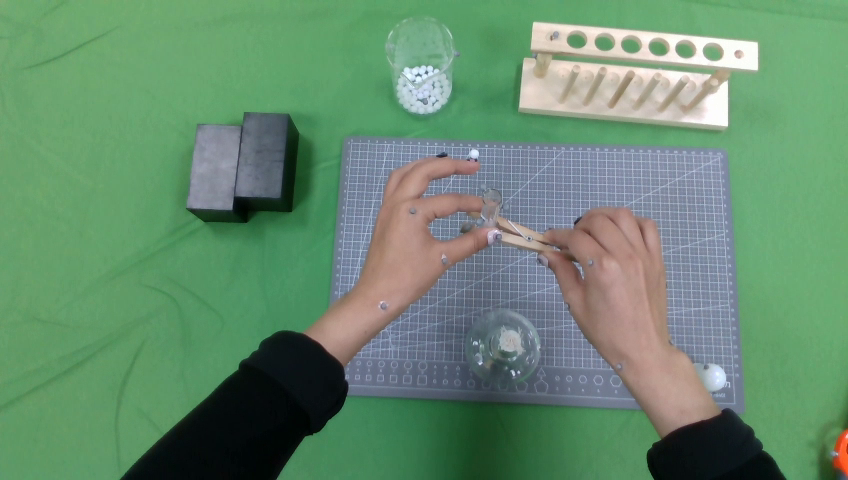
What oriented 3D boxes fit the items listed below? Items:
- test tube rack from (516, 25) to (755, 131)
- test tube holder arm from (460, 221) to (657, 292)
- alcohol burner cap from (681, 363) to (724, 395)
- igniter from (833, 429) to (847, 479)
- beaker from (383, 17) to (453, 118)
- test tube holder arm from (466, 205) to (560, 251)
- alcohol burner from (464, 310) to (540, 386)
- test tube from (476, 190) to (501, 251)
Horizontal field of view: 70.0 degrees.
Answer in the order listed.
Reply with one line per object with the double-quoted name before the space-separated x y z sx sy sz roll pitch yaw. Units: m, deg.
"test tube rack" 0.234 -0.183 0.690 0.242 0.085 0.066 6 77 2
"test tube holder arm" 0.117 0.015 0.531 0.178 0.015 0.013 19 88 0
"alcohol burner cap" 0.292 0.144 0.630 0.034 0.048 0.033 0 75 1
"igniter" 0.458 0.197 0.624 0.057 0.025 0.275 25 78 -3
"beaker" -0.005 -0.188 0.689 0.074 0.101 0.083 5 77 3
"test tube holder arm" 0.078 -0.007 0.531 0.088 0.015 0.010 27 87 0
"alcohol burner" 0.080 0.106 0.606 0.078 0.119 0.077 0 75 -1
"test tube" 0.055 -0.013 0.528 0.017 0.151 0.017 -1 76 3
